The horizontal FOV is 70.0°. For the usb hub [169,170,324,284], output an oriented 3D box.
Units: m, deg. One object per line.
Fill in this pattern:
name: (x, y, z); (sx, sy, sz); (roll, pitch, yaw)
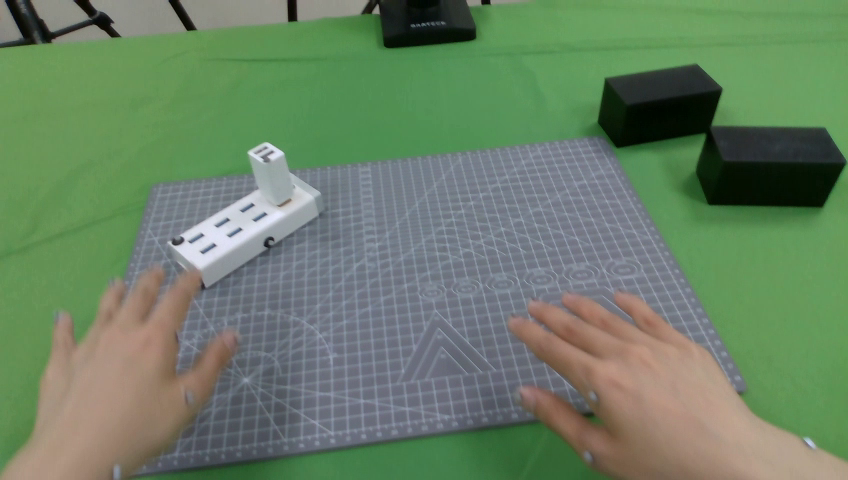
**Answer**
usb hub: (-0.151, -0.015, 0.524); (0.049, 0.025, 0.125); (33, 55, 31)

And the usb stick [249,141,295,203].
usb stick: (-0.127, -0.053, 0.516); (0.027, 0.060, 0.021); (29, 54, 32)
